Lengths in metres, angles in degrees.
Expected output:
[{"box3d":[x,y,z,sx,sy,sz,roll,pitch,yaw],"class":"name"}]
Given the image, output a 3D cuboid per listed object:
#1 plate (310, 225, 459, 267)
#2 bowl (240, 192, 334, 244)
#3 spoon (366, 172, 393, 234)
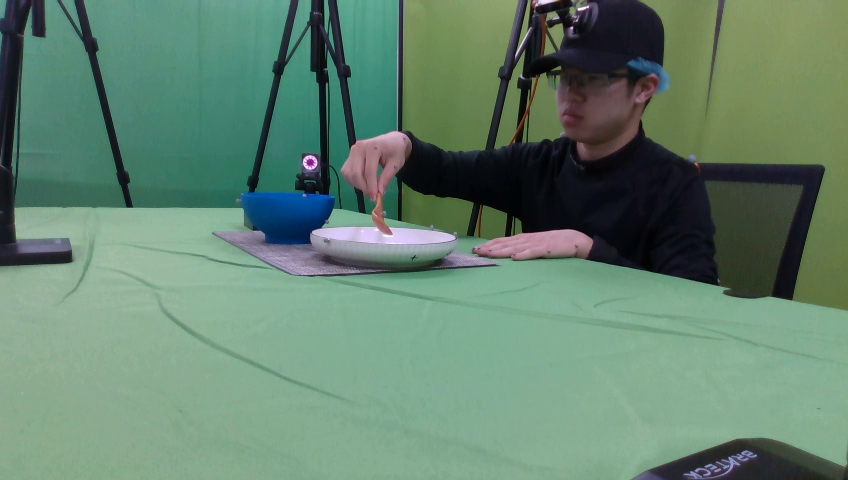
[{"box3d":[-0.055,0.008,0.851,0.208,0.039,0.207,2,7,0],"class":"plate"},{"box3d":[-0.223,-0.037,0.992,0.151,0.077,0.151,2,7,0],"class":"bowl"},{"box3d":[-0.072,-0.062,0.932,0.021,0.042,0.193,-36,32,13],"class":"spoon"}]
